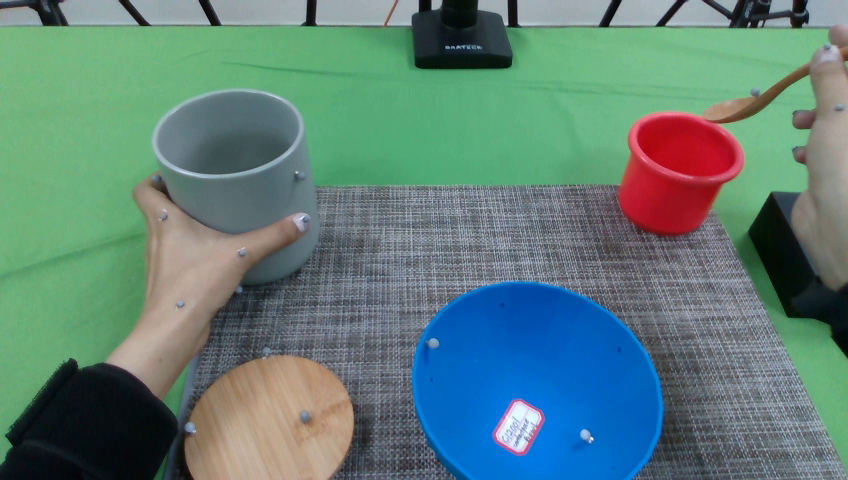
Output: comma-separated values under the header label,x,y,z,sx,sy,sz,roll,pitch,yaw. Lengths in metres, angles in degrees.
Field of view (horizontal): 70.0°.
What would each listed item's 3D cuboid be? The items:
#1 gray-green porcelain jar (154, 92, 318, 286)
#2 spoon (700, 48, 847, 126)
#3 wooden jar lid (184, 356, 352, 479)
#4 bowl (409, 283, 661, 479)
label,x,y,z,sx,sy,sz,roll,pitch,yaw
gray-green porcelain jar,-0.140,-0.034,0.479,0.106,0.127,0.105,2,47,-1
spoon,0.262,-0.111,0.417,0.041,0.193,0.021,-32,91,-13
wooden jar lid,-0.102,0.128,0.404,0.108,0.021,0.107,1,46,-1
bowl,0.065,0.109,0.391,0.151,0.077,0.150,2,47,-2
